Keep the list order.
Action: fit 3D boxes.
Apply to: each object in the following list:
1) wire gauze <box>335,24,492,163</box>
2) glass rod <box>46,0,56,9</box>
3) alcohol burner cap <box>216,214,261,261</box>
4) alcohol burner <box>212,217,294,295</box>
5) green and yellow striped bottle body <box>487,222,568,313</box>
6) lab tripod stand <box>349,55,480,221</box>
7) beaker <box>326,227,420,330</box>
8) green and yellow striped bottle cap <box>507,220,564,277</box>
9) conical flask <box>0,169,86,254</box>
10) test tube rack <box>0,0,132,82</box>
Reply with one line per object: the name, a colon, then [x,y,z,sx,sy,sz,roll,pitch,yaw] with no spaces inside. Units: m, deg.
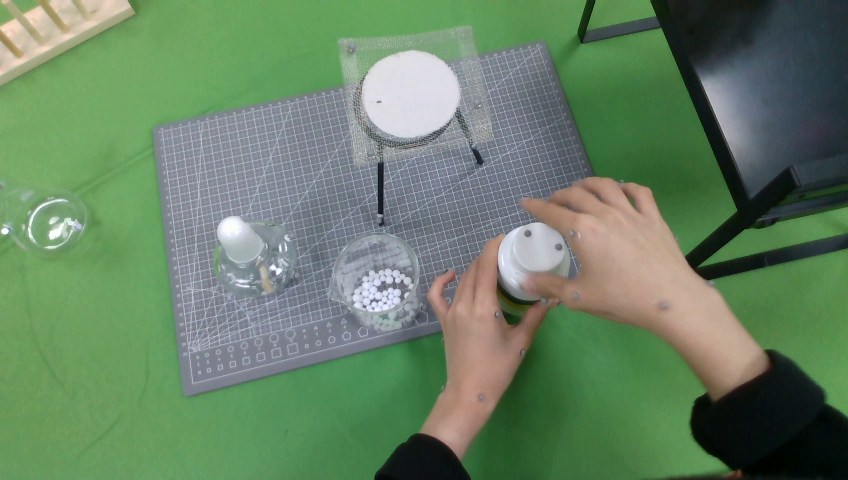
wire gauze: [-0.010,-0.131,0.524,0.121,0.011,0.124,-8,72,-3]
glass rod: [-0.430,-0.311,0.622,0.008,0.201,0.008,1,68,-3]
alcohol burner cap: [-0.165,-0.005,0.529,0.034,0.048,0.033,0,64,0]
alcohol burner: [-0.163,0.009,0.563,0.078,0.120,0.077,0,69,0]
green and yellow striped bottle body: [0.093,0.024,0.549,0.063,0.120,0.063,0,71,1]
lab tripod stand: [-0.015,-0.104,0.587,0.148,0.132,0.147,0,70,0]
beaker: [-0.042,0.042,0.557,0.084,0.101,0.073,-25,72,-6]
green and yellow striped bottle cap: [0.091,0.007,0.495,0.045,0.020,0.045,0,70,2]
conical flask: [-0.393,-0.038,0.581,0.075,0.122,0.075,0,71,2]
test tube rack: [-0.466,-0.246,0.671,0.242,0.086,0.066,-33,74,-10]
